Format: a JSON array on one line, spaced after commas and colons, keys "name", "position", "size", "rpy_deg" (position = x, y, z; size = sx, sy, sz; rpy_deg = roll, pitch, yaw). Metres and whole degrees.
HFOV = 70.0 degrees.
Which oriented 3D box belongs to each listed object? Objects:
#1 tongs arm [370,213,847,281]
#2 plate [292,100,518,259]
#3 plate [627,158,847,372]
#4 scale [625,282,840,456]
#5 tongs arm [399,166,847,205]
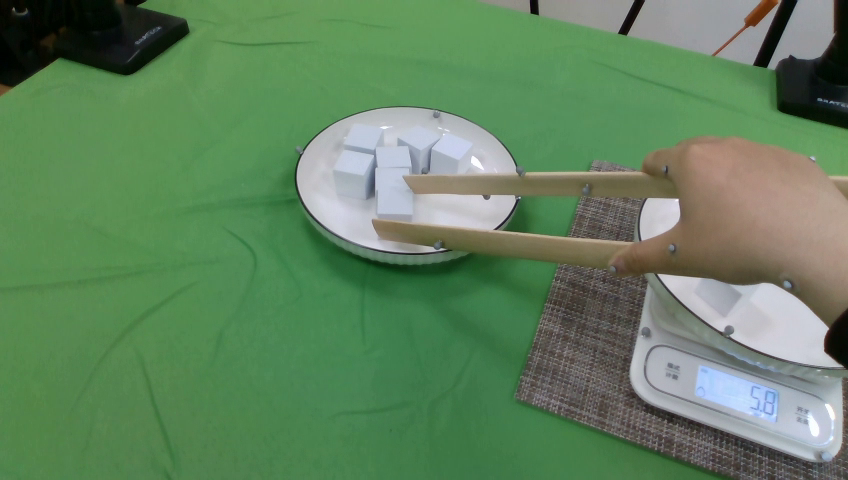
[{"name": "tongs arm", "position": [0.117, -0.003, 0.399], "size": [0.385, 0.028, 0.028], "rpy_deg": [5, 47, 35]}, {"name": "plate", "position": [-0.016, -0.056, 0.568], "size": [0.209, 0.038, 0.207], "rpy_deg": [3, 47, -3]}, {"name": "plate", "position": [0.262, 0.017, 0.479], "size": [0.208, 0.039, 0.205], "rpy_deg": [3, 48, -3]}, {"name": "scale", "position": [0.251, 0.058, 0.485], "size": [0.148, 0.032, 0.200], "rpy_deg": [19, 50, 13]}, {"name": "tongs arm", "position": [0.132, -0.028, 0.416], "size": [0.382, 0.027, 0.050], "rpy_deg": [4, 50, 34]}]
